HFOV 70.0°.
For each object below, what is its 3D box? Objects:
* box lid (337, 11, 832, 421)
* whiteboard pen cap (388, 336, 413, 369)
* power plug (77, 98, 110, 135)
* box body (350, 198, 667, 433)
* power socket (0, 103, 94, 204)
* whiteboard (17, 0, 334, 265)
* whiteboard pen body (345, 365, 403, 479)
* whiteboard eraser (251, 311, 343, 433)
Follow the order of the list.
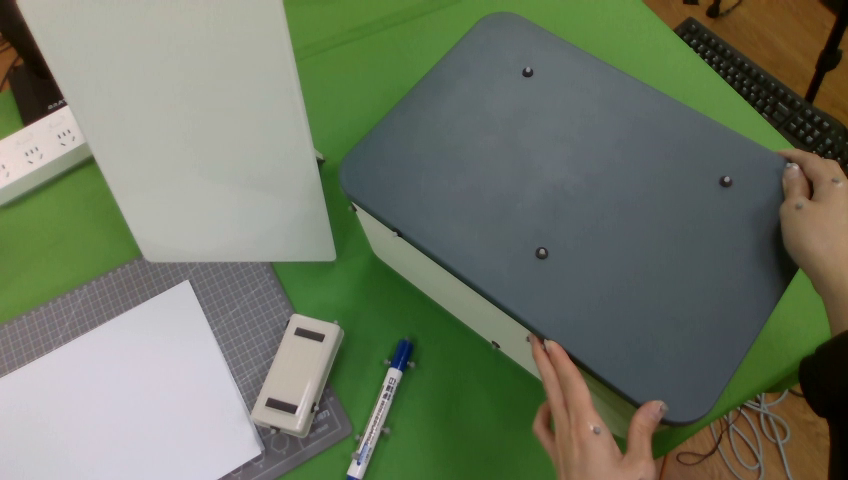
[{"bbox_3d":[0.130,-0.051,0.532,0.369,0.015,0.263,36,71,18],"label":"box lid"},{"bbox_3d":[-0.025,0.117,0.623,0.018,0.018,0.033,17,67,11],"label":"whiteboard pen cap"},{"bbox_3d":[-0.395,-0.140,0.732,0.035,0.053,0.072,-24,71,-9],"label":"power plug"},{"bbox_3d":[0.136,-0.016,0.598,0.362,0.161,0.253,35,71,18],"label":"box body"},{"bbox_3d":[-0.453,-0.124,0.752,0.227,0.033,0.071,-33,68,-13],"label":"power socket"},{"bbox_3d":[-0.210,-0.133,0.627,0.217,0.308,0.142,0,43,4],"label":"whiteboard"},{"bbox_3d":[-0.044,0.167,0.600,0.017,0.017,0.140,18,66,12],"label":"whiteboard pen body"},{"bbox_3d":[-0.125,0.130,0.604,0.055,0.042,0.112,13,66,10],"label":"whiteboard eraser"}]
